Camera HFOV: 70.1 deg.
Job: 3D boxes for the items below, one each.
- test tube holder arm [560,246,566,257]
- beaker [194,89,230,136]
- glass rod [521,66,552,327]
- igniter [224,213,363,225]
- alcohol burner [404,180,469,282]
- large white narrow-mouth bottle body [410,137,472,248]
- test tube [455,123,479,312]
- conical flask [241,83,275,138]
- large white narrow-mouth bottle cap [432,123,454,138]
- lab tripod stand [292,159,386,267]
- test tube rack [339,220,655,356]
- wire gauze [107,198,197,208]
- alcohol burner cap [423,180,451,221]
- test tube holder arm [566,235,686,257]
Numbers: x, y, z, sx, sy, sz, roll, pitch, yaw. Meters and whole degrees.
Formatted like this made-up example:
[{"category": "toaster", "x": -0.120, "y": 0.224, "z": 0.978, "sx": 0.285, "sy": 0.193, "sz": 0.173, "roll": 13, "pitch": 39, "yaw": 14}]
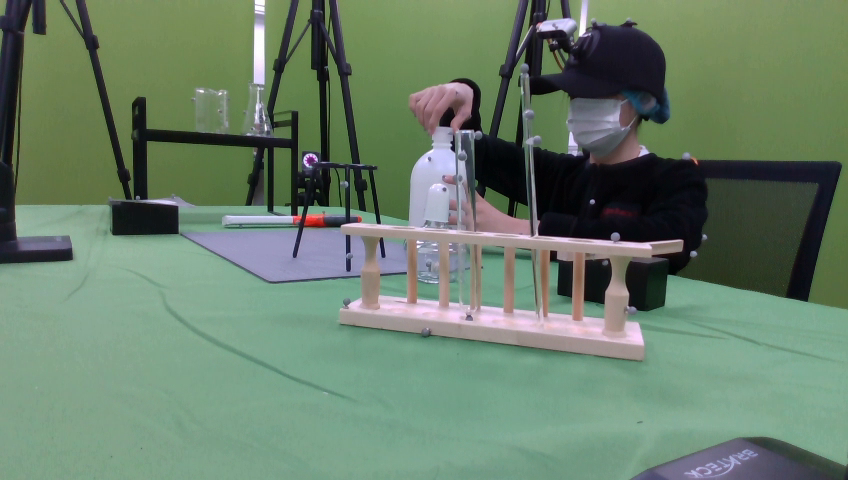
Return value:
[{"category": "test tube holder arm", "x": 0.173, "y": 0.007, "z": 0.612, "sx": 0.088, "sy": 0.015, "sz": 0.010, "roll": -3, "pitch": 8, "yaw": -30}, {"category": "beaker", "x": -0.472, "y": -0.283, "z": 1.352, "sx": 0.074, "sy": 0.100, "sz": 0.083, "roll": -4, "pitch": 10, "yaw": -35}, {"category": "glass rod", "x": 0.085, "y": -0.028, "z": 0.454, "sx": 0.008, "sy": 0.199, "sz": 0.008, "roll": -7, "pitch": 10, "yaw": 2}, {"category": "igniter", "x": -0.255, "y": -0.041, "z": 1.210, "sx": 0.278, "sy": 0.025, "sz": 0.057, "roll": -2, "pitch": -2, "yaw": -31}, {"category": "alcohol burner", "x": 0.015, "y": -0.011, "z": 0.715, "sx": 0.078, "sy": 0.119, "sz": 0.078, "roll": 0, "pitch": 7, "yaw": 0}, {"category": "large white narrow-mouth bottle body", "x": 0.029, "y": -0.088, "z": 1.005, "sx": 0.102, "sy": 0.194, "sz": 0.102, "roll": 2, "pitch": 8, "yaw": 0}, {"category": "test tube", "x": 0.034, "y": -0.016, "z": 0.476, "sx": 0.017, "sy": 0.150, "sz": 0.017, "roll": -2, "pitch": 10, "yaw": 1}, {"category": "conical flask", "x": -0.383, "y": -0.297, "z": 1.392, "sx": 0.075, "sy": 0.122, "sz": 0.075, "roll": 2, "pitch": 7, "yaw": 0}, {"category": "large white narrow-mouth bottle cap", "x": 0.032, "y": -0.179, "z": 0.991, "sx": 0.038, "sy": 0.024, "sz": 0.037, "roll": 2, "pitch": 8, "yaw": 0}, {"category": "lab tripod stand", "x": -0.105, "y": -0.039, "z": 0.798, "sx": 0.148, "sy": 0.131, "sz": 0.148, "roll": 2, "pitch": 5, "yaw": 0}, {"category": "test tube rack", "x": 0.056, "y": 0.032, "z": 0.495, "sx": 0.242, "sy": 0.085, "sz": 0.067, "roll": 4, "pitch": 7, "yaw": 15}, {"category": "wire gauze", "x": -0.462, "y": -0.064, "z": 1.023, "sx": 0.126, "sy": 0.011, "sz": 0.121, "roll": -2, "pitch": 7, "yaw": -32}, {"category": "alcohol burner cap", "x": 0.017, "y": -0.047, "z": 0.711, "sx": 0.034, "sy": 0.048, "sz": 0.034, "roll": 8, "pitch": 5, "yaw": 0}, {"category": "test tube holder arm", "x": 0.215, "y": 0.006, "z": 0.630, "sx": 0.179, "sy": 0.015, "sz": 0.013, "roll": -3, "pitch": 8, "yaw": -31}]
